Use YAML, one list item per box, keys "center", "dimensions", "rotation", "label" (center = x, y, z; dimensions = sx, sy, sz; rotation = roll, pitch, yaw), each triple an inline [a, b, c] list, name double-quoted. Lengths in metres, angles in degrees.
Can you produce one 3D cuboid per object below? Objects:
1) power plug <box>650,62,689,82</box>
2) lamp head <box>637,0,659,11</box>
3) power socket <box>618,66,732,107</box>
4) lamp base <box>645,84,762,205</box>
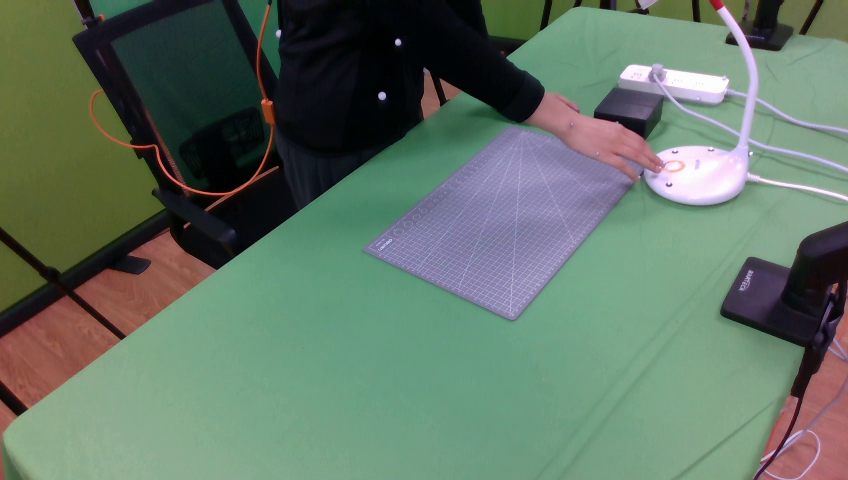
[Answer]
- center: [0.504, -0.340, 1.248]
  dimensions: [0.072, 0.053, 0.035]
  rotation: [8, 59, 12]
  label: "power plug"
- center: [0.330, -0.391, 0.827]
  dimensions: [0.122, 0.113, 0.112]
  rotation: [-21, 35, 25]
  label: "lamp head"
- center: [0.517, -0.322, 1.259]
  dimensions: [0.225, 0.033, 0.072]
  rotation: [19, 49, 29]
  label: "power socket"
- center: [0.461, -0.170, 0.975]
  dimensions: [0.179, 0.181, 0.160]
  rotation: [3, 41, 11]
  label: "lamp base"
